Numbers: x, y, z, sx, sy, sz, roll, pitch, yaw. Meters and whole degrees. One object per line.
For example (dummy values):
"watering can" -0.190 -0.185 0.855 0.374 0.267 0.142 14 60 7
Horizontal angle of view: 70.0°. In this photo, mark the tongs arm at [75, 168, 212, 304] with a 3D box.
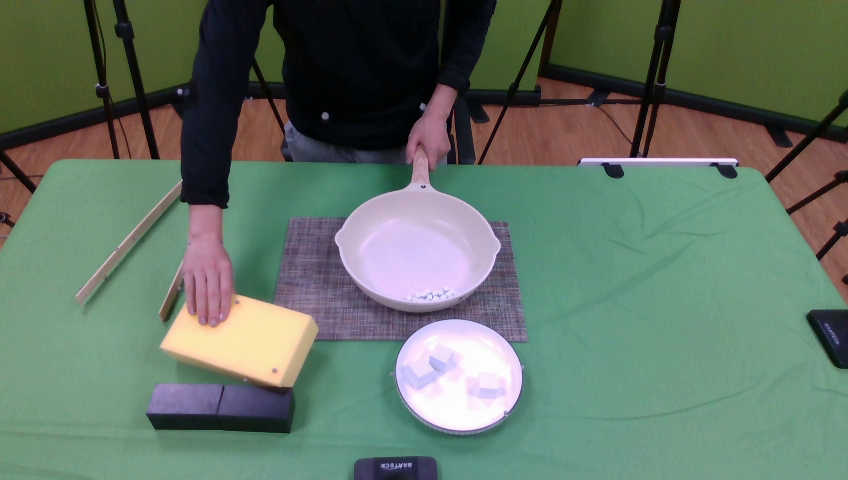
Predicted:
"tongs arm" -0.525 -0.021 1.167 0.051 0.026 0.383 13 45 7

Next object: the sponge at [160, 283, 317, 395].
"sponge" -0.293 0.156 0.970 0.206 0.061 0.118 14 63 11

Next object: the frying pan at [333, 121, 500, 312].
"frying pan" -0.011 -0.063 1.195 0.307 0.103 0.485 4 55 -2

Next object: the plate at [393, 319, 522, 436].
"plate" 0.053 0.222 0.979 0.208 0.039 0.206 3 46 -2

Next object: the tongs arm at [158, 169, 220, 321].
"tongs arm" -0.446 -0.005 1.164 0.028 0.028 0.385 2 46 0
